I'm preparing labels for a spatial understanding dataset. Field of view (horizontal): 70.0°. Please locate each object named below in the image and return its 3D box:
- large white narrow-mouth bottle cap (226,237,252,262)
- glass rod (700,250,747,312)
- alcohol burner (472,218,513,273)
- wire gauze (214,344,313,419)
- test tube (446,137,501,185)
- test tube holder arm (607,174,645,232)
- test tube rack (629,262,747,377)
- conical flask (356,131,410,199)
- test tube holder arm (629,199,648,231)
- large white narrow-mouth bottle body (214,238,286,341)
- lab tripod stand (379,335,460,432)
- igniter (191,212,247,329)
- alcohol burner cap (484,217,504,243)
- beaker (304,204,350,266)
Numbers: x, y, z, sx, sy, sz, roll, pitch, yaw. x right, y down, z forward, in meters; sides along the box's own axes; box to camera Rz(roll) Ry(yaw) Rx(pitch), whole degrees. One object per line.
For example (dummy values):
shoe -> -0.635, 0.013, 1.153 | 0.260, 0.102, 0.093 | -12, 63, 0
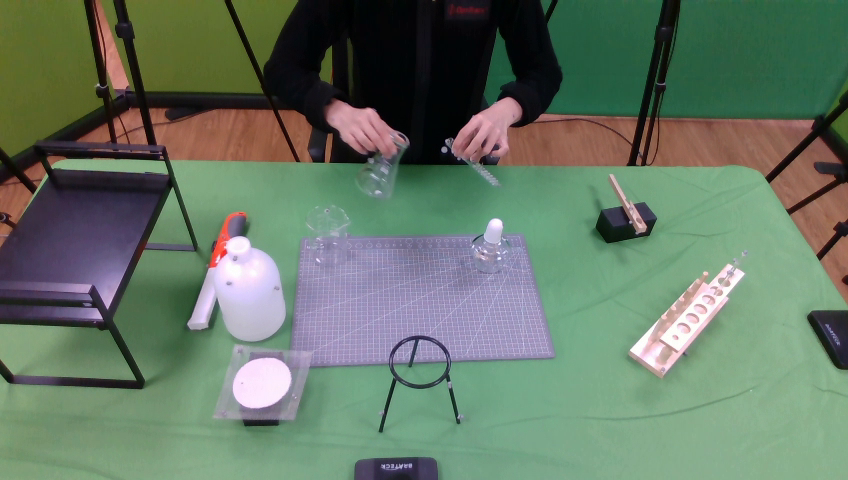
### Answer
large white narrow-mouth bottle cap -> -0.281, 0.014, 0.923 | 0.038, 0.024, 0.037 | 2, 46, -2
glass rod -> 0.500, 0.075, 1.021 | 0.008, 0.201, 0.008 | 0, 54, 1
alcohol burner -> 0.128, 0.005, 1.132 | 0.078, 0.120, 0.077 | 0, 47, 0
wire gauze -> -0.241, 0.213, 0.916 | 0.121, 0.011, 0.124 | 5, 46, 1
test tube -> 0.093, -0.141, 1.103 | 0.017, 0.151, 0.017 | -29, 44, 32
test tube holder arm -> 0.411, -0.080, 1.238 | 0.013, 0.015, 0.177 | 1, 41, -13
test tube rack -> 0.464, 0.126, 1.060 | 0.242, 0.085, 0.066 | -34, 56, -31
conical flask -> -0.067, -0.139, 1.089 | 0.075, 0.122, 0.075 | 21, 40, -18
test tube holder arm -> 0.423, -0.050, 1.206 | 0.010, 0.015, 0.087 | 1, 41, -12
large white narrow-mouth bottle body -> -0.285, 0.073, 0.986 | 0.102, 0.195, 0.101 | 2, 46, -2
lab tripod stand -> -0.010, 0.214, 0.911 | 0.148, 0.132, 0.147 | 1, 45, 0
igniter -> -0.376, 0.047, 1.121 | 0.057, 0.025, 0.275 | -4, 46, 6
alcohol burner cap -> 0.131, -0.021, 1.107 | 0.034, 0.048, 0.033 | 5, 46, -5
beaker -> -0.178, -0.006, 1.132 | 0.084, 0.101, 0.073 | 4, 46, -1
